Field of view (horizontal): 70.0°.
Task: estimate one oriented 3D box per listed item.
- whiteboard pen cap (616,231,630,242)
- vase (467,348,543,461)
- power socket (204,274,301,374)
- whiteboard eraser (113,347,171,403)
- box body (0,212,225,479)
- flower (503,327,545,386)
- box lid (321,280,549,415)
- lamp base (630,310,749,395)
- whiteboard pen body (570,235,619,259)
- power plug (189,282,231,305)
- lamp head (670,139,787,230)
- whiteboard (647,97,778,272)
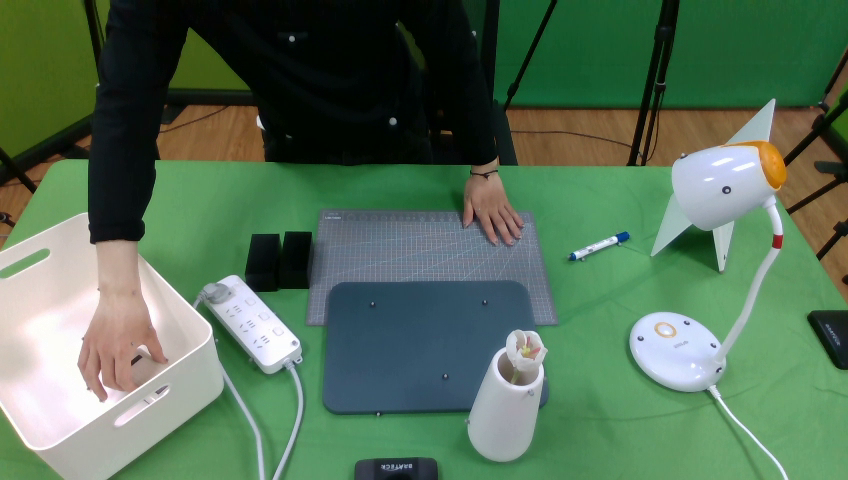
[{"bbox_3d":[0.403,-0.007,1.235,0.033,0.018,0.018,-19,50,-24],"label":"whiteboard pen cap"},{"bbox_3d":[0.116,0.235,0.860,0.098,0.201,0.097,1,47,-1],"label":"vase"},{"bbox_3d":[-0.297,0.140,1.035,0.072,0.033,0.225,-33,57,-29],"label":"power socket"},{"bbox_3d":[-0.420,0.215,0.936,0.112,0.042,0.055,27,54,21],"label":"whiteboard eraser"},{"bbox_3d":[-0.506,0.155,0.915,0.362,0.161,0.254,35,54,26],"label":"box body"},{"bbox_3d":[0.114,0.189,0.790,0.044,0.363,0.038,34,69,19],"label":"flower"},{"bbox_3d":[0.013,0.174,1.040,0.372,0.015,0.261,0,47,-4],"label":"box lid"},{"bbox_3d":[0.447,0.143,0.984,0.161,0.181,0.178,-24,55,-24],"label":"lamp base"},{"bbox_3d":[0.351,0.011,1.215,0.141,0.017,0.017,-20,51,-23],"label":"whiteboard pen body"},{"bbox_3d":[-0.368,0.097,1.039,0.072,0.053,0.035,-26,54,-20],"label":"power plug"},{"bbox_3d":[0.415,-0.078,0.812,0.113,0.123,0.112,12,70,-37],"label":"lamp head"},{"bbox_3d":[0.602,-0.079,1.162,0.144,0.306,0.216,35,51,2],"label":"whiteboard"}]
